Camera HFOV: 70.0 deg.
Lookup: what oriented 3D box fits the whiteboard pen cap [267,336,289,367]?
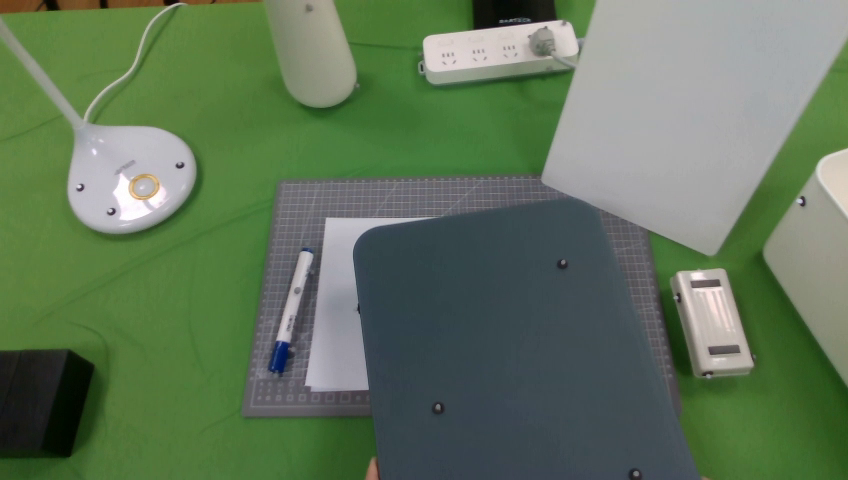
[{"bbox_3d":[-0.156,0.119,0.650,0.018,0.018,0.033,6,64,7],"label":"whiteboard pen cap"}]

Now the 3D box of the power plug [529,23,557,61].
[{"bbox_3d":[0.156,-0.255,0.804,0.035,0.053,0.072,3,68,5],"label":"power plug"}]

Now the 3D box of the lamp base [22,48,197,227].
[{"bbox_3d":[-0.385,-0.129,0.708,0.178,0.182,0.160,29,66,21],"label":"lamp base"}]

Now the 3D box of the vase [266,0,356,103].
[{"bbox_3d":[-0.146,-0.266,0.759,0.098,0.202,0.097,-2,61,4],"label":"vase"}]

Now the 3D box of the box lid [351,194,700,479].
[{"bbox_3d":[0.079,0.120,0.554,0.263,0.015,0.367,-9,60,-5],"label":"box lid"}]

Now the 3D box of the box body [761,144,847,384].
[{"bbox_3d":[0.530,0.073,0.556,0.254,0.162,0.360,-17,62,-6],"label":"box body"}]

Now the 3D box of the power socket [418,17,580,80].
[{"bbox_3d":[0.104,-0.265,0.838,0.227,0.033,0.071,-6,62,0],"label":"power socket"}]

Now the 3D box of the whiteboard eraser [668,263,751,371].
[{"bbox_3d":[0.297,0.080,0.635,0.055,0.042,0.111,-3,61,1],"label":"whiteboard eraser"}]

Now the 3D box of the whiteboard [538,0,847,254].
[{"bbox_3d":[0.288,-0.175,0.659,0.216,0.308,0.143,28,46,18],"label":"whiteboard"}]

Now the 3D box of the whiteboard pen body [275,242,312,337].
[{"bbox_3d":[-0.148,0.067,0.675,0.017,0.017,0.140,7,64,7],"label":"whiteboard pen body"}]

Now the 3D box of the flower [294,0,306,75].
[{"bbox_3d":[-0.131,-0.299,0.682,0.044,0.363,0.038,-40,83,-26],"label":"flower"}]
